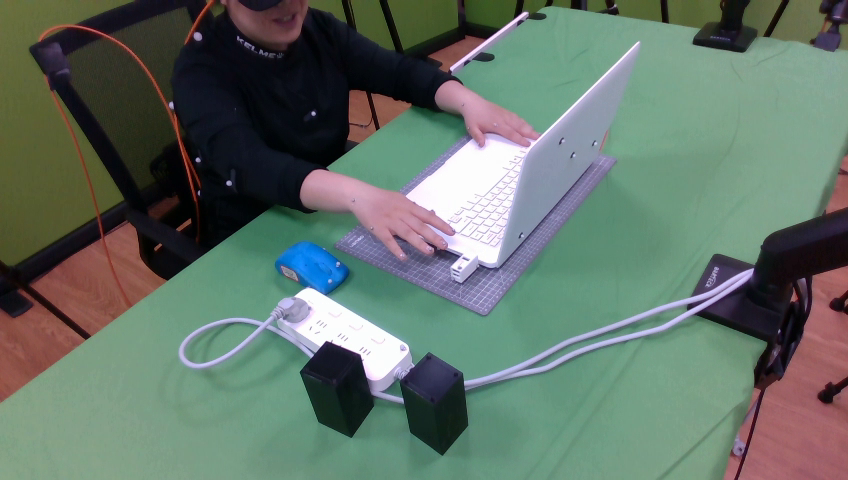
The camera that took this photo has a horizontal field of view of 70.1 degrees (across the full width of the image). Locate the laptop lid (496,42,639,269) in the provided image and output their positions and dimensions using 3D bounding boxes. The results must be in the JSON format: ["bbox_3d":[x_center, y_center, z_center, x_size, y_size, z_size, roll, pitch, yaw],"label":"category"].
[{"bbox_3d":[0.221,-0.130,0.913,0.013,0.242,0.357,31,51,21],"label":"laptop lid"}]

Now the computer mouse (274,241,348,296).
[{"bbox_3d":[-0.176,0.040,0.935,0.116,0.041,0.063,26,49,28],"label":"computer mouse"}]

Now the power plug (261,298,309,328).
[{"bbox_3d":[-0.192,0.107,0.831,0.073,0.053,0.035,-32,43,-25],"label":"power plug"}]

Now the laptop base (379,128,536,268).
[{"bbox_3d":[0.118,-0.088,1.058,0.233,0.023,0.355,19,47,33],"label":"laptop base"}]

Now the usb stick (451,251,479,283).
[{"bbox_3d":[0.065,0.036,0.900,0.021,0.027,0.059,24,46,31],"label":"usb stick"}]

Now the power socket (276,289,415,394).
[{"bbox_3d":[-0.114,0.133,0.821,0.225,0.033,0.072,25,49,33],"label":"power socket"}]
